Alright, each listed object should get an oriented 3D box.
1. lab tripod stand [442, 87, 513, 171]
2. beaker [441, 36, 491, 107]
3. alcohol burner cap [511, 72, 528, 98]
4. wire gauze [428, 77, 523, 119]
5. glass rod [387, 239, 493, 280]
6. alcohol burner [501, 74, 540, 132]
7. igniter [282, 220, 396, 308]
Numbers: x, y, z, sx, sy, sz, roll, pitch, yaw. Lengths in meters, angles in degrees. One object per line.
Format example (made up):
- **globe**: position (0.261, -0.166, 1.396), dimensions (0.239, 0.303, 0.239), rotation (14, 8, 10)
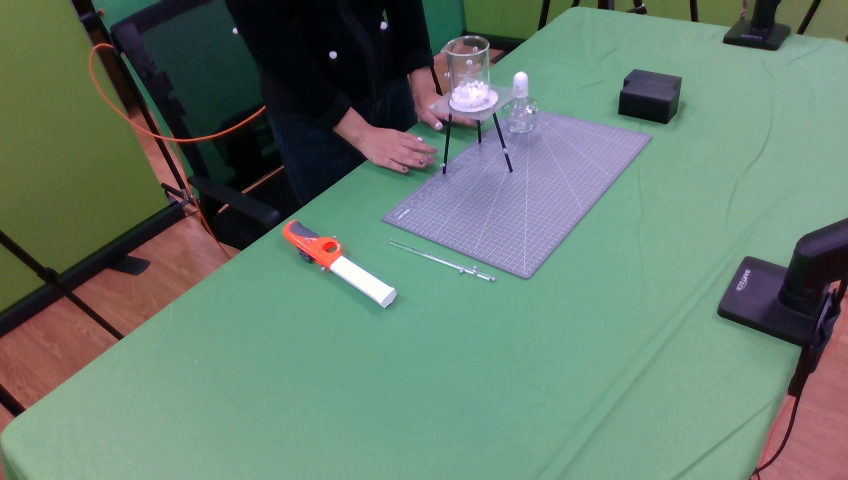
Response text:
- **lab tripod stand**: position (0.097, -0.201, 1.108), dimensions (0.148, 0.132, 0.147), rotation (-4, 40, 4)
- **beaker**: position (0.074, -0.287, 1.036), dimensions (0.084, 0.101, 0.073), rotation (-1, 41, 8)
- **alcohol burner cap**: position (0.185, -0.302, 1.171), dimensions (0.034, 0.048, 0.033), rotation (-2, 42, 2)
- **wire gauze**: position (0.091, -0.249, 1.063), dimensions (0.120, 0.011, 0.125), rotation (24, 48, 30)
- **glass rod**: position (0.021, 0.028, 0.953), dimensions (0.198, 0.008, 0.008), rotation (19, 48, 29)
- **alcohol burner**: position (0.191, -0.275, 1.194), dimensions (0.078, 0.119, 0.077), rotation (-4, 42, 4)
- **igniter**: position (-0.146, 0.032, 0.966), dimensions (0.274, 0.025, 0.057), rotation (30, 65, 37)
